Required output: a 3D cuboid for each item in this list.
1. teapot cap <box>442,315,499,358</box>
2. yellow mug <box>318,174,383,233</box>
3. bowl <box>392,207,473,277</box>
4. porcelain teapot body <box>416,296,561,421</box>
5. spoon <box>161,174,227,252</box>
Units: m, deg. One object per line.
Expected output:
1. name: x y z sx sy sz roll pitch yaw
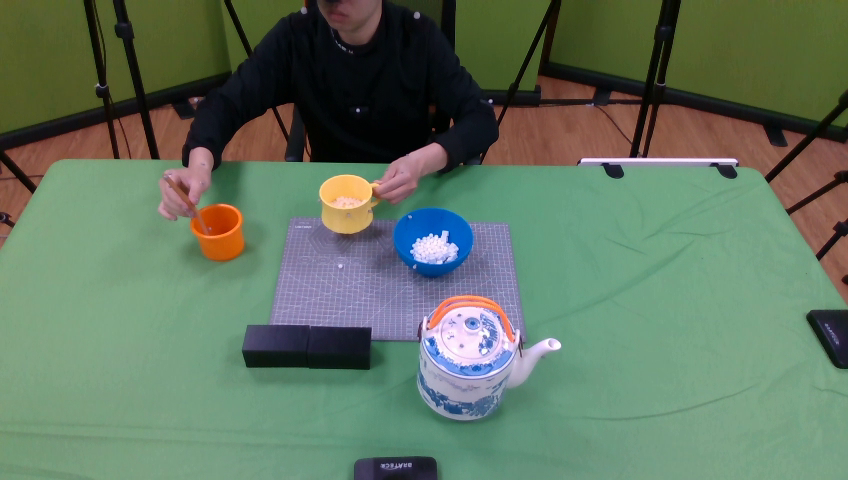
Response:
1. teapot cap: 0.068 0.133 0.880 0.085 0.044 0.084 4 45 -4
2. yellow mug: -0.137 -0.076 1.162 0.131 0.064 0.099 -22 51 -24
3. bowl: 0.014 0.016 1.140 0.151 0.077 0.150 2 46 -2
4. porcelain teapot body: 0.094 0.164 0.907 0.205 0.226 0.144 6 45 1
5. spoon: -0.411 -0.046 1.088 0.021 0.195 0.041 -28 40 -9
